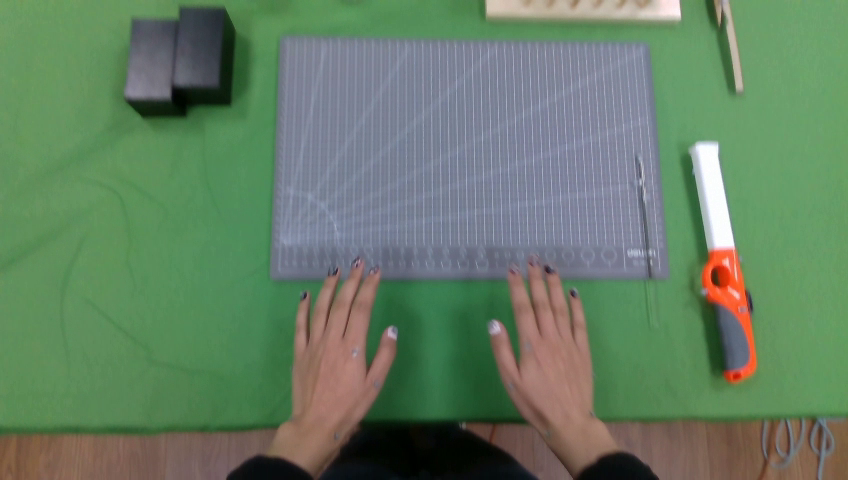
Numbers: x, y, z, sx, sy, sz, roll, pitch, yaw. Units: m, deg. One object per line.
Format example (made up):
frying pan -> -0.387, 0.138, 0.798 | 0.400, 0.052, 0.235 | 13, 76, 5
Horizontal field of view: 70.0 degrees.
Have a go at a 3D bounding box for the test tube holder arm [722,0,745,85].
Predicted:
test tube holder arm -> 0.377, -0.278, 0.752 | 0.013, 0.015, 0.177 | -14, 78, 30

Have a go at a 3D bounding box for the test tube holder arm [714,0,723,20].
test tube holder arm -> 0.366, -0.321, 0.762 | 0.010, 0.015, 0.087 | -13, 79, 30

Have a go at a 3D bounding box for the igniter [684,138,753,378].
igniter -> 0.335, 0.016, 0.690 | 0.057, 0.025, 0.275 | -2, 79, -14

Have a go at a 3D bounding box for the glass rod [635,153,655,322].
glass rod -> 0.253, -0.006, 0.696 | 0.008, 0.008, 0.199 | -1, 79, -4

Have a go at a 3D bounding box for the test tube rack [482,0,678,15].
test tube rack -> 0.194, -0.322, 0.718 | 0.242, 0.085, 0.066 | 0, 79, -3
